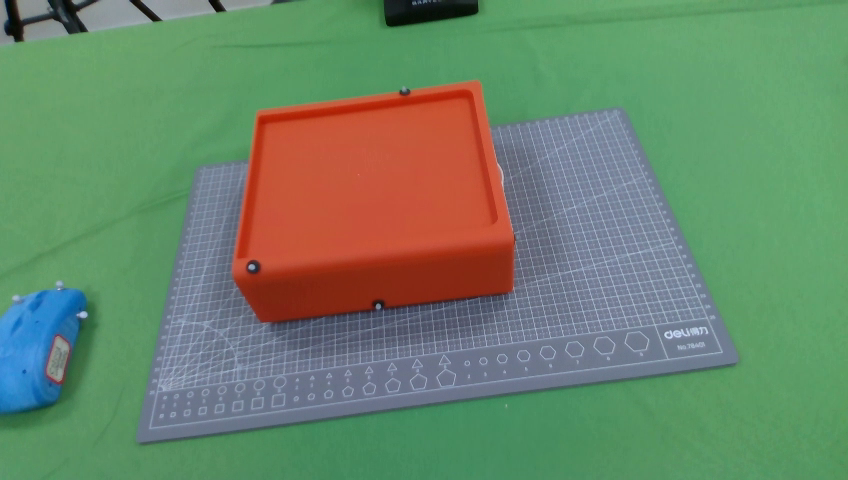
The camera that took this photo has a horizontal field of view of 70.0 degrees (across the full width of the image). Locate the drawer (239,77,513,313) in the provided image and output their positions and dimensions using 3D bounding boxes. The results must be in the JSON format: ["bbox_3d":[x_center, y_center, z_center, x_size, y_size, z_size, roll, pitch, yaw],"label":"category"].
[{"bbox_3d":[-0.039,-0.044,0.527,0.212,0.074,0.192,-8,52,2],"label":"drawer"}]

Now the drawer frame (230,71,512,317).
[{"bbox_3d":[-0.042,-0.044,0.527,0.213,0.083,0.199,-8,52,2],"label":"drawer frame"}]

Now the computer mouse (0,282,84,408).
[{"bbox_3d":[-0.328,0.081,0.498,0.063,0.041,0.116,-9,47,3],"label":"computer mouse"}]
